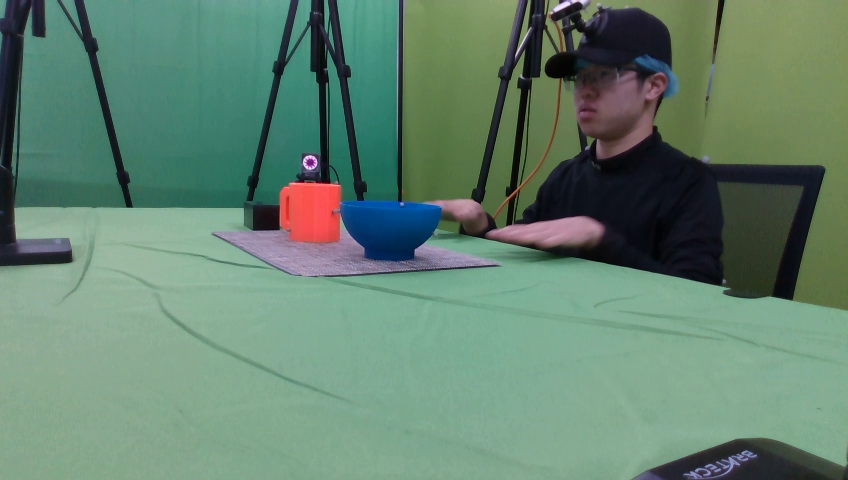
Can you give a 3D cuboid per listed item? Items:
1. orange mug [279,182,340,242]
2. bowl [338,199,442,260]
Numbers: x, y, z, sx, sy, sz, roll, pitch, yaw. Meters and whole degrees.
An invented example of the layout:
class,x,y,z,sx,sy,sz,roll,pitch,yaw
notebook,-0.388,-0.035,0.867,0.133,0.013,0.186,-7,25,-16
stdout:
class,x,y,z,sx,sy,sz,roll,pitch,yaw
orange mug,-0.202,-0.052,1.042,0.125,0.100,0.084,12,11,34
bowl,-0.050,-0.015,0.878,0.151,0.077,0.151,2,8,0
